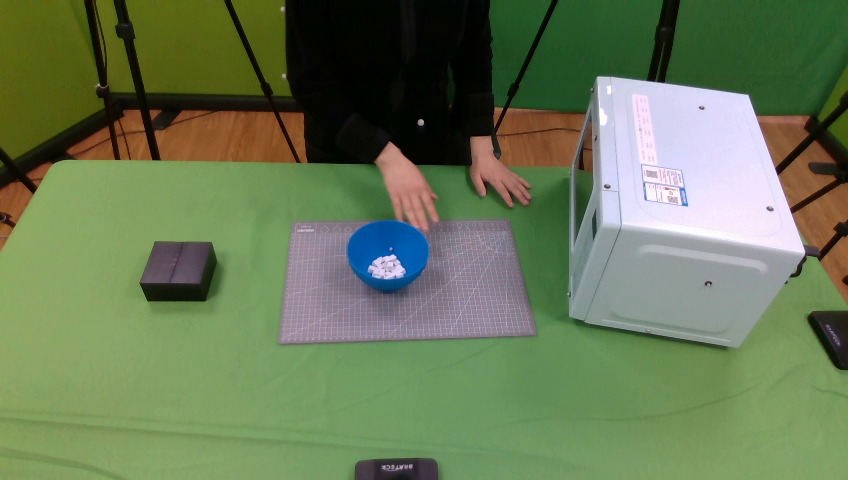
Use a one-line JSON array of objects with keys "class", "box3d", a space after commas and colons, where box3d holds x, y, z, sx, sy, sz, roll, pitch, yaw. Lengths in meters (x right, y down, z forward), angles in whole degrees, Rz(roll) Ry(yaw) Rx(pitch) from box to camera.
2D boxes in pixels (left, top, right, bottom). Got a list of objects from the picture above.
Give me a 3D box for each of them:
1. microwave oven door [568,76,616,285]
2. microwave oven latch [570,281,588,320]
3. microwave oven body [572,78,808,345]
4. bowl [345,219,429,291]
[{"class": "microwave oven door", "box3d": [0.319, -0.119, 1.161, 0.039, 0.245, 0.354, 9, 46, 5]}, {"class": "microwave oven latch", "box3d": [0.275, 0.105, 1.082, 0.030, 0.029, 0.079, 10, 45, 6]}, {"class": "microwave oven body", "box3d": [0.455, -0.063, 1.124, 0.326, 0.261, 0.439, 8, 45, 5]}, {"class": "bowl", "box3d": [-0.068, 0.041, 1.111, 0.151, 0.077, 0.150, 2, 46, -2]}]
